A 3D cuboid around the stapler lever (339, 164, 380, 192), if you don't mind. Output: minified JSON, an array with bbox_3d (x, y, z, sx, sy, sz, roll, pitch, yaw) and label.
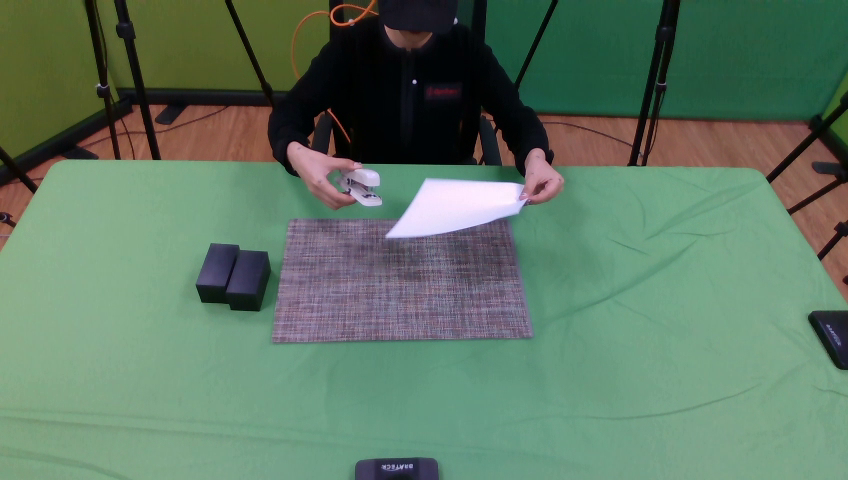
[{"bbox_3d":[-0.119,-0.123,1.113,0.027,0.040,0.117,-5,28,-35],"label":"stapler lever"}]

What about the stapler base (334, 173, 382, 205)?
[{"bbox_3d":[-0.122,-0.100,1.122,0.041,0.024,0.130,-5,28,-35],"label":"stapler base"}]
